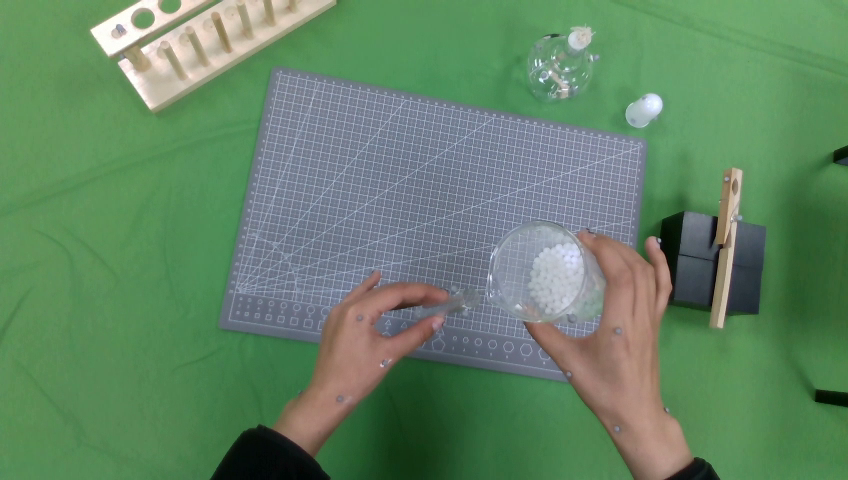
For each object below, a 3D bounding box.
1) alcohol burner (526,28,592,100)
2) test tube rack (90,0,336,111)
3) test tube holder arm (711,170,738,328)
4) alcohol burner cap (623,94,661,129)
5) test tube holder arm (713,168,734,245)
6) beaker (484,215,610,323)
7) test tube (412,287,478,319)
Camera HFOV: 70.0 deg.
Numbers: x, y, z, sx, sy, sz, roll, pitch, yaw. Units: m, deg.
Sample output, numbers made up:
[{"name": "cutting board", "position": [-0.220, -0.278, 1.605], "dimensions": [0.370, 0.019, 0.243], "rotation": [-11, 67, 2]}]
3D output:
[{"name": "alcohol burner", "position": [0.157, -0.203, 0.677], "dimensions": [0.078, 0.119, 0.077], "rotation": [1, 81, -8]}, {"name": "test tube rack", "position": [-0.214, -0.243, 0.649], "dimensions": [0.242, 0.085, 0.066], "rotation": [-35, 87, -10]}, {"name": "test tube holder arm", "position": [0.332, 0.009, 0.670], "dimensions": [0.013, 0.015, 0.178], "rotation": [10, 82, -13]}, {"name": "alcohol burner cap", "position": [0.262, -0.155, 0.720], "dimensions": [0.034, 0.048, 0.033], "rotation": [1, 81, -7]}, {"name": "test tube holder arm", "position": [0.334, -0.037, 0.675], "dimensions": [0.010, 0.015, 0.087], "rotation": [11, 82, -12]}, {"name": "beaker", "position": [0.100, 0.030, 0.475], "dimensions": [0.084, 0.101, 0.073], "rotation": [-31, 68, 20]}, {"name": "test tube", "position": [0.015, 0.057, 0.532], "dimensions": [0.017, 0.150, 0.017], "rotation": [3, 78, -16]}]
